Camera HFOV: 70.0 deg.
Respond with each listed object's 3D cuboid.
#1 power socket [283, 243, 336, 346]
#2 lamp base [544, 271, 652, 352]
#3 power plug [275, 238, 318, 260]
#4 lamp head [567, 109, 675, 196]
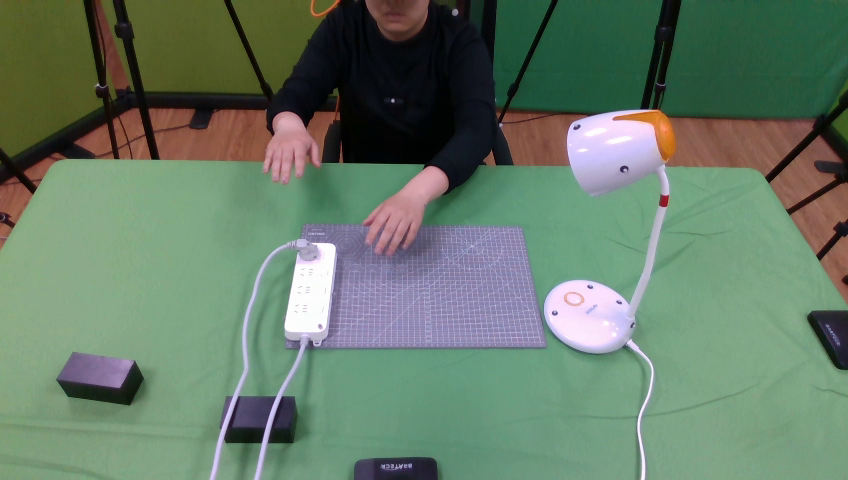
[{"bbox_3d":[-0.203,0.088,1.086,0.072,0.033,0.225,1,46,-2],"label":"power socket"},{"bbox_3d":[0.309,0.086,1.029,0.178,0.181,0.160,32,52,21],"label":"lamp base"},{"bbox_3d":[-0.232,0.018,1.119,0.072,0.053,0.035,9,47,6],"label":"power plug"},{"bbox_3d":[0.272,-0.123,0.818,0.122,0.113,0.112,-9,35,37],"label":"lamp head"}]
